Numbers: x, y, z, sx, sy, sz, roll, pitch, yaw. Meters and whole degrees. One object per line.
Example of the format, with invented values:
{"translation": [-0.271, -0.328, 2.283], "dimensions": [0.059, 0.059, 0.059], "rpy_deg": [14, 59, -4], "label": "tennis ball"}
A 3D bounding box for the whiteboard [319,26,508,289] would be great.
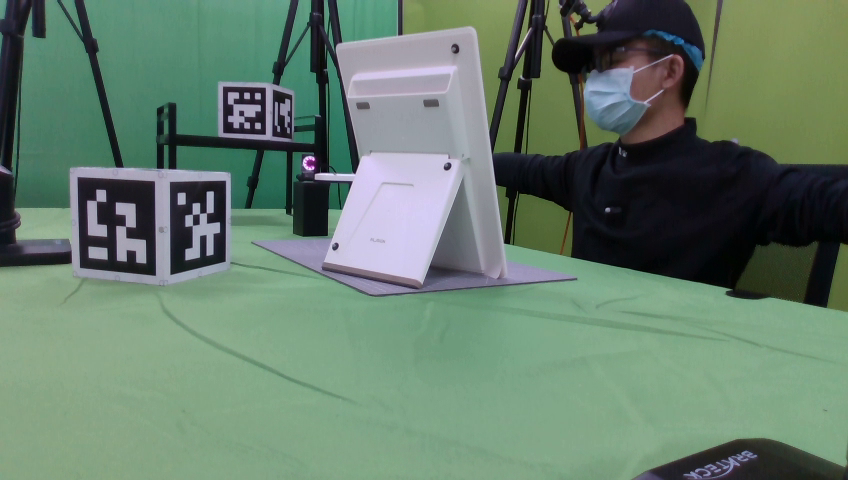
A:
{"translation": [-0.045, -0.076, 0.721], "dimensions": [0.216, 0.305, 0.144], "rpy_deg": [9, 29, 39], "label": "whiteboard"}

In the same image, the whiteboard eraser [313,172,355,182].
{"translation": [-0.163, -0.121, 1.158], "dimensions": [0.102, 0.019, 0.041], "rpy_deg": [-1, 6, -33], "label": "whiteboard eraser"}
